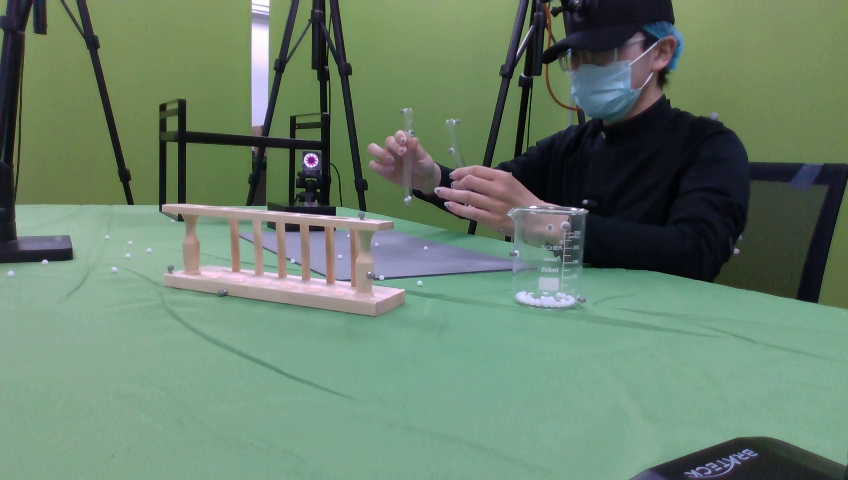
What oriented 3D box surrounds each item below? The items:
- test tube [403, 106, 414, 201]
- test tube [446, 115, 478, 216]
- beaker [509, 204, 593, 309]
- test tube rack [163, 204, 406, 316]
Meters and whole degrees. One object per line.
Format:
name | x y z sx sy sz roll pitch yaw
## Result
test tube | -0.024 -0.137 0.962 0.017 0.150 0.017 0 2 0
test tube | 0.056 -0.108 0.884 0.017 0.150 0.017 -14 5 1
beaker | 0.126 0.015 0.613 0.084 0.100 0.074 1 7 -5
test tube rack | -0.141 0.013 0.601 0.241 0.085 0.067 5 8 21
